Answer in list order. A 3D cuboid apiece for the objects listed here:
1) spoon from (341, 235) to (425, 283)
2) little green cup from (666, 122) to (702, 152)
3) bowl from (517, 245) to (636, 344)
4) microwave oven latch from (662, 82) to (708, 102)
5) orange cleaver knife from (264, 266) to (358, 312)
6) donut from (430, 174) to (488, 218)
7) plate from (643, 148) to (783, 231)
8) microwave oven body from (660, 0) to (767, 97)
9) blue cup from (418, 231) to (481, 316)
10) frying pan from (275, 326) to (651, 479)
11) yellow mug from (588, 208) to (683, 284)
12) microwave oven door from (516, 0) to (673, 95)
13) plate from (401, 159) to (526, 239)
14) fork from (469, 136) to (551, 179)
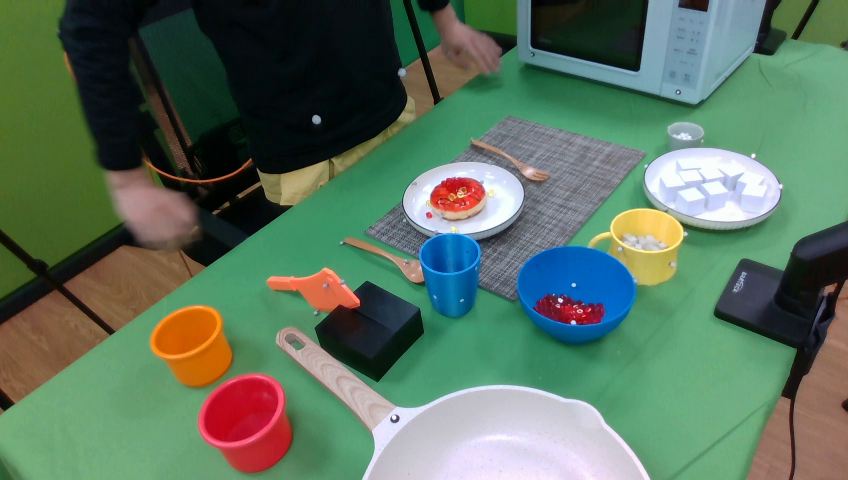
[{"bbox_3d":[-0.061,0.022,0.953,0.192,0.022,0.041,24,70,30],"label":"spoon"},{"bbox_3d":[0.471,-0.184,1.102,0.061,0.039,0.061,-5,41,5],"label":"little green cup"},{"bbox_3d":[0.200,0.084,0.803,0.151,0.077,0.150,-4,40,4],"label":"bowl"},{"bbox_3d":[0.518,-0.298,1.202,0.078,0.029,0.030,29,53,35],"label":"microwave oven latch"},{"bbox_3d":[-0.165,0.073,0.864,0.210,0.077,0.012,-6,31,49],"label":"orange cleaver knife"},{"bbox_3d":[0.058,-0.076,1.015,0.099,0.048,0.098,-6,38,5],"label":"donut"},{"bbox_3d":[0.464,-0.080,0.986,0.207,0.039,0.206,-4,41,4],"label":"plate"},{"bbox_3d":[0.473,-0.516,1.313,0.438,0.261,0.327,26,51,34],"label":"microwave oven body"},{"bbox_3d":[0.040,0.053,0.843,0.092,0.100,0.092,-4,43,4],"label":"blue cup"},{"bbox_3d":[0.003,0.229,0.641,0.484,0.103,0.308,34,54,28],"label":"frying pan"},{"bbox_3d":[0.305,0.009,0.884,0.131,0.064,0.099,-4,41,5],"label":"yellow mug"},{"bbox_3d":[0.344,-0.458,1.256,0.353,0.245,0.039,26,51,33],"label":"microwave oven door"},{"bbox_3d":[0.067,-0.065,1.019,0.209,0.038,0.208,-4,40,4],"label":"plate"},{"bbox_3d":[0.154,-0.156,1.126,0.028,0.019,0.205,-40,51,-16],"label":"fork"}]
